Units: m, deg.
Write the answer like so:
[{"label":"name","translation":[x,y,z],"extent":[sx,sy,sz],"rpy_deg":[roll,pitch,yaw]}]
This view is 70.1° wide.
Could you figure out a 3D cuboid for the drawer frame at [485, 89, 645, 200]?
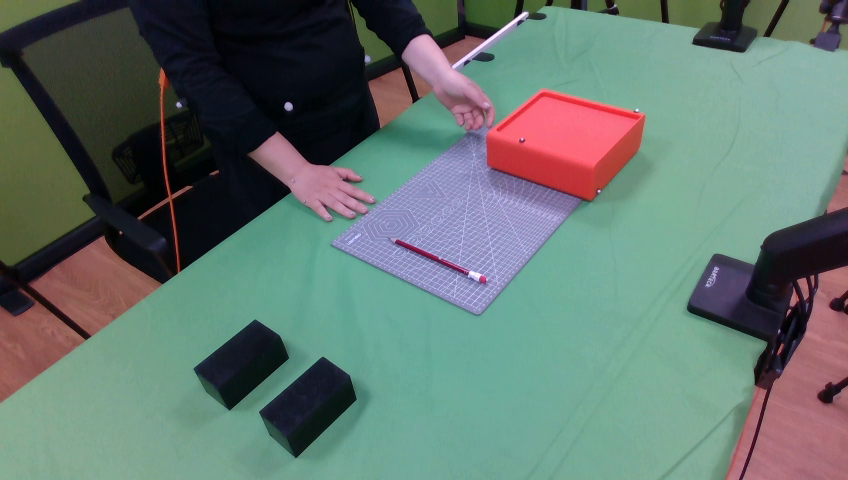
[{"label":"drawer frame","translation":[0.254,-0.179,1.094],"extent":[0.212,0.083,0.202],"rpy_deg":[24,48,30]}]

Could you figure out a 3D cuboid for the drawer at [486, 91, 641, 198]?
[{"label":"drawer","translation":[0.251,-0.178,1.095],"extent":[0.210,0.073,0.195],"rpy_deg":[25,48,30]}]

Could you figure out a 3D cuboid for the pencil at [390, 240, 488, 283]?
[{"label":"pencil","translation":[0.018,0.030,0.938],"extent":[0.192,0.012,0.012],"rpy_deg":[22,48,33]}]
